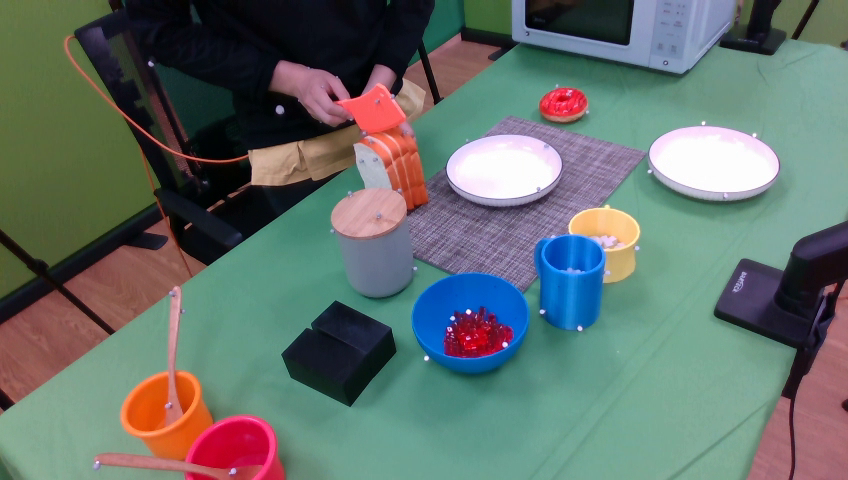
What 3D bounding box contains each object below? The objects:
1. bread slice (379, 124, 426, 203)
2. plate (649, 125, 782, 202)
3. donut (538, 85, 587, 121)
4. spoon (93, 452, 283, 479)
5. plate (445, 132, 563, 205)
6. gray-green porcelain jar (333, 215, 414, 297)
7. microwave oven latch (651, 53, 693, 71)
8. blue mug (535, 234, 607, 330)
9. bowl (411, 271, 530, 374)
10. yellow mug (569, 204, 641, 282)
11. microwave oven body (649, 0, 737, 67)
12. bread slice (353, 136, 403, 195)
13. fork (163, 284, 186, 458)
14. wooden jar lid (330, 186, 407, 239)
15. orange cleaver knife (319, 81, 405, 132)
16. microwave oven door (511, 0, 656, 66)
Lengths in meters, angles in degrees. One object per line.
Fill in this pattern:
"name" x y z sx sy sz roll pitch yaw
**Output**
"bread slice" -0.039 -0.135 1.048 0.018 0.135 0.106 -31 46 -26
"plate" 0.493 -0.127 1.036 0.207 0.039 0.206 -4 41 4
"donut" 0.283 -0.280 1.239 0.099 0.048 0.098 -5 42 5
"spoon" -0.240 0.239 0.632 0.195 0.021 0.041 26 33 -32
"plate" 0.142 -0.123 1.075 0.209 0.038 0.208 -4 41 4
"gray-green porcelain jar" -0.071 0.012 0.887 0.106 0.127 0.105 -4 41 4
"microwave oven latch" 0.532 -0.386 1.301 0.078 0.029 0.030 27 52 34
"blue mug" 0.191 0.048 0.824 0.082 0.106 0.115 -26 44 -20
"bowl" 0.061 0.120 0.780 0.151 0.077 0.150 -4 40 4
"yellow mug" 0.268 -0.005 0.904 0.099 0.064 0.130 7 41 15
"microwave oven body" 0.475 -0.602 1.411 0.438 0.261 0.327 23 50 32
"bread slice" -0.080 -0.114 1.026 0.019 0.132 0.104 -36 44 -23
"fork" -0.302 0.157 0.733 0.028 0.019 0.207 -3 84 15
"wooden jar lid" -0.077 -0.035 0.846 0.108 0.021 0.108 -6 41 5
"orange cleaver knife" -0.104 -0.212 0.988 0.012 0.077 0.209 -43 28 -28
"microwave oven door" 0.351 -0.539 1.348 0.353 0.245 0.039 24 50 31
